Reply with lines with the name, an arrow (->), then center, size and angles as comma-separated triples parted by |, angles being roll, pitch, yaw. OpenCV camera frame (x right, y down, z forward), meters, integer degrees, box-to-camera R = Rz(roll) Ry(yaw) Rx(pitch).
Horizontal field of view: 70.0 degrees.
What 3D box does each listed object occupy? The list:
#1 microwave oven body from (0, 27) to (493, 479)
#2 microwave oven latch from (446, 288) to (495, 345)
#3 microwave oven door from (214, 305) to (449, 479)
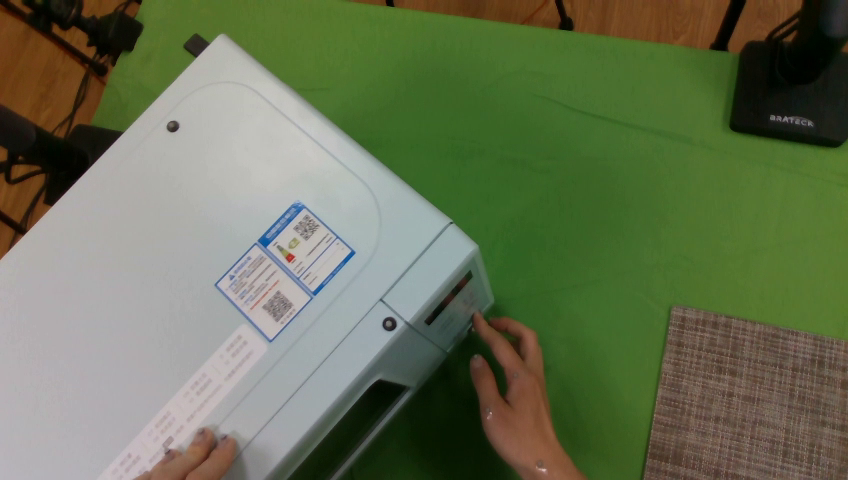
microwave oven body -> -0.200, 0.088, 0.586 | 0.324, 0.262, 0.441 | 41, 85, 16
microwave oven latch -> 0.043, 0.076, 0.651 | 0.030, 0.030, 0.079 | 43, 86, 17
microwave oven door -> -0.123, 0.209, 0.536 | 0.039, 0.245, 0.355 | 41, 85, 18
